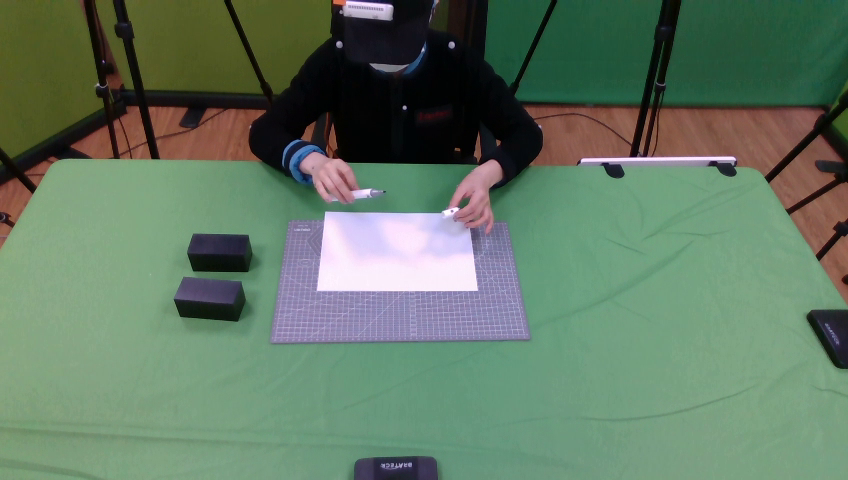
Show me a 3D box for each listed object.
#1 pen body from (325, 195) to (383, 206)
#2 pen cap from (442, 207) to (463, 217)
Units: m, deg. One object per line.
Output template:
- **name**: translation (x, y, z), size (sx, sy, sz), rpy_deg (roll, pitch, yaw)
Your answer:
- **pen body**: translation (-0.132, -0.074, 1.145), size (0.143, 0.017, 0.017), rpy_deg (5, 40, 37)
- **pen cap**: translation (0.055, -0.054, 1.166), size (0.038, 0.017, 0.017), rpy_deg (-10, 48, -20)
